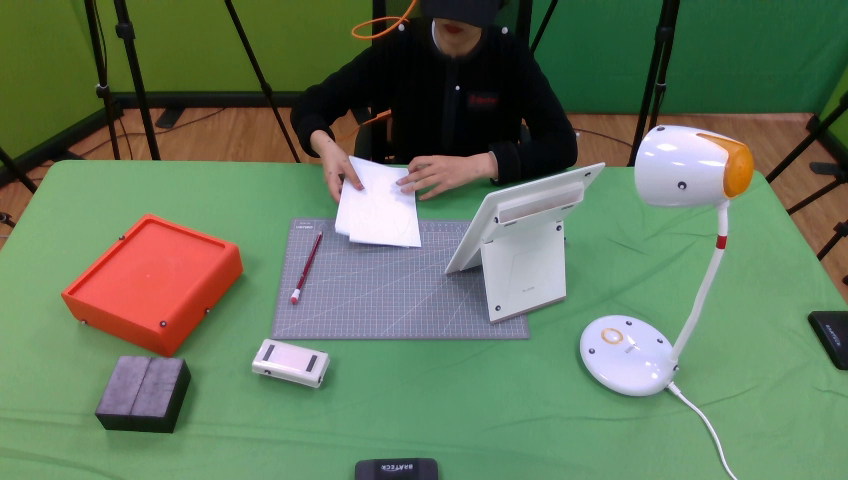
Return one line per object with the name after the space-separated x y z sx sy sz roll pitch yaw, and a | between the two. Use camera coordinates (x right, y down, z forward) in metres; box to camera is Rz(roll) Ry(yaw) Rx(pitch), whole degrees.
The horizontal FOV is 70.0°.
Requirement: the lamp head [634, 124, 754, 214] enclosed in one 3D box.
0.351 -0.089 0.775 0.112 0.113 0.122 -30 30 -28 | lamp head

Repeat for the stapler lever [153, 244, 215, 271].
-0.430 0.026 1.088 0.118 0.040 0.027 15 33 12 | stapler lever

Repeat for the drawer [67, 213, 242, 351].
-0.461 0.068 1.056 0.194 0.073 0.211 19 48 13 | drawer

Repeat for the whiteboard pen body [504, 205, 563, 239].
0.225 -0.036 1.249 0.140 0.017 0.017 31 52 22 | whiteboard pen body

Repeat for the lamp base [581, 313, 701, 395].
0.361 0.144 0.973 0.178 0.181 0.160 34 53 23 | lamp base

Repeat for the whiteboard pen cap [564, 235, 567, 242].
0.271 -0.008 1.225 0.033 0.018 0.018 33 52 22 | whiteboard pen cap

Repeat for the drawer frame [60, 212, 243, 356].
-0.462 0.070 1.053 0.201 0.083 0.213 18 48 12 | drawer frame

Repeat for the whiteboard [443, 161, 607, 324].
0.185 0.026 1.028 0.217 0.306 0.143 -15 68 -18 | whiteboard

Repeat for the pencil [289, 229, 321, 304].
-0.221 0.045 1.141 0.012 0.012 0.193 8 45 4 | pencil

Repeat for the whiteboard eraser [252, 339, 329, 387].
-0.215 0.199 0.976 0.112 0.042 0.055 12 45 7 | whiteboard eraser

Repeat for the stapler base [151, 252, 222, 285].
-0.432 0.047 1.102 0.130 0.024 0.041 16 33 12 | stapler base
